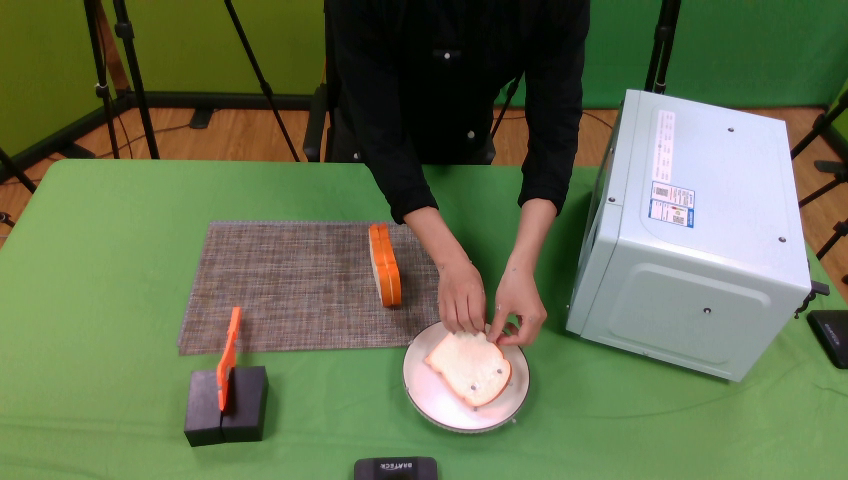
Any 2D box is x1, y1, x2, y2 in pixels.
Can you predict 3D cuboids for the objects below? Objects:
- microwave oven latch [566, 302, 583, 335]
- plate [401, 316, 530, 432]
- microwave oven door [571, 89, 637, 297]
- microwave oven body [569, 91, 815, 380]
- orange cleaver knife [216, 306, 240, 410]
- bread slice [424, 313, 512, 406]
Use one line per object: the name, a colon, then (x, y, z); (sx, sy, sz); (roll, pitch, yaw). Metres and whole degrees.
microwave oven latch: (0.268, 0.126, 1.059); (0.030, 0.029, 0.079); (16, 46, 12)
plate: (0.066, 0.217, 0.982); (0.208, 0.039, 0.206); (2, 46, -2)
microwave oven door: (0.343, -0.091, 1.133); (0.039, 0.245, 0.354); (15, 47, 10)
microwave oven body: (0.468, -0.022, 1.082); (0.325, 0.261, 0.440); (15, 46, 11)
orange cleaver knife: (-0.307, 0.180, 0.957); (0.012, 0.077, 0.210); (-2, 25, -8)
bread slice: (0.077, 0.195, 0.965); (0.133, 0.018, 0.107); (41, 98, 33)
